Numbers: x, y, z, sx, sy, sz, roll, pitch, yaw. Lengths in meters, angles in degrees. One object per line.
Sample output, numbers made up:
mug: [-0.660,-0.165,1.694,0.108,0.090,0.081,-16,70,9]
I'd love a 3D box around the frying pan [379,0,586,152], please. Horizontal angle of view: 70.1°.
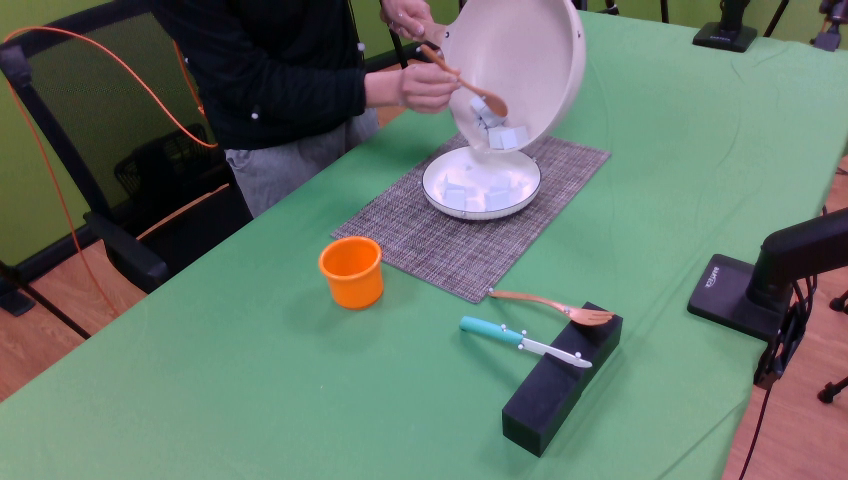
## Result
frying pan: [0.082,-0.343,1.071,0.484,0.307,0.103,35,30,33]

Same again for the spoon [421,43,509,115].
spoon: [0.068,-0.256,0.970,0.041,0.195,0.021,7,75,54]

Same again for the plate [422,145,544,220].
plate: [0.102,-0.097,1.048,0.207,0.039,0.206,-4,40,4]

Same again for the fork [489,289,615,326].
fork: [0.161,0.085,0.800,0.205,0.019,0.028,12,50,48]

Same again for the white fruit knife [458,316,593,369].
white fruit knife: [0.120,0.126,0.757,0.205,0.027,0.016,12,45,43]
